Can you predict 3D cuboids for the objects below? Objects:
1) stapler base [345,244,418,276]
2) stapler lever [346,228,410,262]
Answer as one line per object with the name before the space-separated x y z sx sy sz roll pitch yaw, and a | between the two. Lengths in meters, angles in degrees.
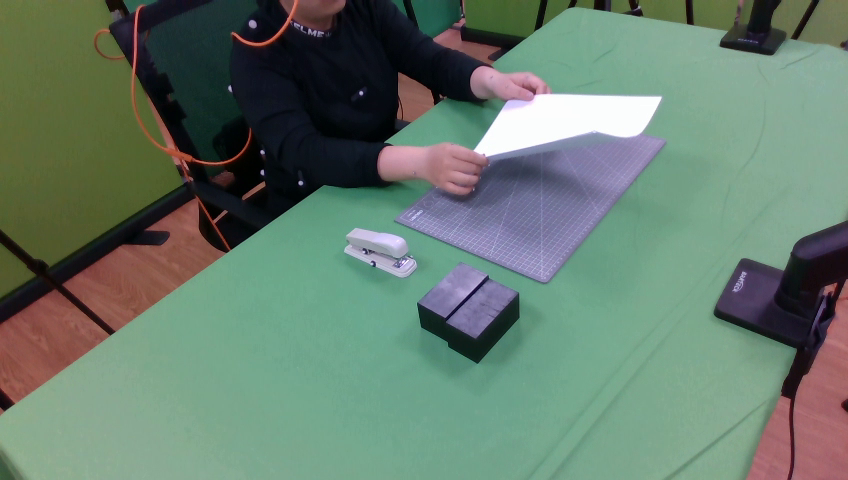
stapler base | -0.070 0.020 0.965 0.129 0.024 0.041 19 45 31
stapler lever | -0.074 0.002 0.950 0.117 0.040 0.027 20 46 30
